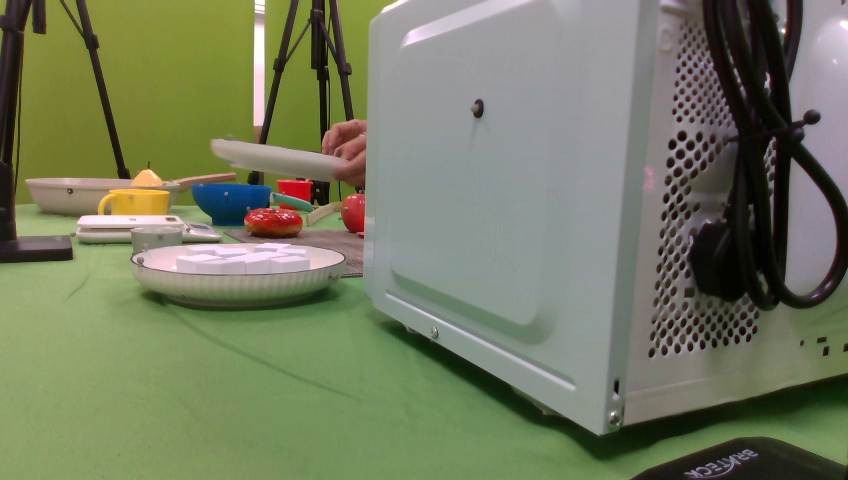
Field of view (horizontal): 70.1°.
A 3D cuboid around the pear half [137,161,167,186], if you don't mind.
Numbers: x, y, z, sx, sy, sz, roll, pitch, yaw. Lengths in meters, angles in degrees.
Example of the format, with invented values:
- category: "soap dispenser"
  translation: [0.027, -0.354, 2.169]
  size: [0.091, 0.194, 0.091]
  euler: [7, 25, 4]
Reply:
- category: "pear half"
  translation: [-0.602, -0.120, 1.354]
  size: [0.056, 0.110, 0.076]
  euler: [4, 11, 6]

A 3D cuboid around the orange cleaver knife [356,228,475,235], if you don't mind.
- category: "orange cleaver knife"
  translation: [-0.017, -0.015, 1.080]
  size: [0.211, 0.012, 0.077]
  euler: [0, 1, -2]

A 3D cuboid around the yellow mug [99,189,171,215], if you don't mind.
- category: "yellow mug"
  translation: [-0.518, -0.055, 1.080]
  size: [0.099, 0.064, 0.131]
  euler: [6, 9, 26]

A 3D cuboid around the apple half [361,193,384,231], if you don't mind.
- category: "apple half"
  translation: [-0.092, -0.053, 1.136]
  size: [0.033, 0.081, 0.081]
  euler: [0, 7, 12]

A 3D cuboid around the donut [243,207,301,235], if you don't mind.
- category: "donut"
  translation: [-0.261, -0.032, 1.043]
  size: [0.099, 0.048, 0.099]
  euler: [4, 9, 0]

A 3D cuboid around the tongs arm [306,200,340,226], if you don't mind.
- category: "tongs arm"
  translation: [-0.235, -0.066, 1.414]
  size: [0.028, 0.028, 0.387]
  euler: [-6, 8, 1]

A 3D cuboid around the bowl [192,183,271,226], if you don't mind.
- category: "bowl"
  translation: [-0.382, -0.071, 1.202]
  size: [0.151, 0.077, 0.151]
  euler: [3, 7, 0]

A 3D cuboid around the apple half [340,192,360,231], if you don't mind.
- category: "apple half"
  translation: [-0.130, -0.054, 1.143]
  size: [0.053, 0.074, 0.081]
  euler: [1, 11, 12]

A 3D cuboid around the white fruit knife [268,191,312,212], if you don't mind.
- category: "white fruit knife"
  translation: [-0.364, -0.105, 1.464]
  size: [0.208, 0.027, 0.016]
  euler: [15, 0, -34]

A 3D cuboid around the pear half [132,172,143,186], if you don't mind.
- category: "pear half"
  translation: [-0.638, -0.113, 1.361]
  size: [0.031, 0.088, 0.070]
  euler: [5, 10, 4]

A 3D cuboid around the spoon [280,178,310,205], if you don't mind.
- category: "spoon"
  translation: [-0.316, -0.159, 1.640]
  size: [0.194, 0.022, 0.041]
  euler: [-50, 32, -20]

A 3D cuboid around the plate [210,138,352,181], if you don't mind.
- category: "plate"
  translation: [-0.214, -0.118, 0.911]
  size: [0.209, 0.038, 0.209]
  euler: [8, 4, 0]

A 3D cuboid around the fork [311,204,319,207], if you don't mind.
- category: "fork"
  translation: [-0.356, -0.105, 1.526]
  size: [0.208, 0.018, 0.028]
  euler: [16, -6, -41]

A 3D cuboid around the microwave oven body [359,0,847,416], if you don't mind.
- category: "microwave oven body"
  translation: [0.211, -0.047, 0.474]
  size: [0.444, 0.260, 0.324]
  euler: [-1, 7, -28]

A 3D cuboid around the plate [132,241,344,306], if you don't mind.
- category: "plate"
  translation: [-0.187, 0.033, 0.625]
  size: [0.208, 0.039, 0.207]
  euler: [2, 8, 0]

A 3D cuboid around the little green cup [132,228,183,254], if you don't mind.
- category: "little green cup"
  translation: [-0.342, 0.006, 0.779]
  size: [0.061, 0.038, 0.061]
  euler: [2, 8, 0]

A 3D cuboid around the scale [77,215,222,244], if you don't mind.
- category: "scale"
  translation: [-0.434, -0.019, 0.963]
  size: [0.202, 0.031, 0.148]
  euler: [-1, 9, -27]

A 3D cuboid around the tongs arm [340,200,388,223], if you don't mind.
- category: "tongs arm"
  translation: [-0.149, -0.070, 1.429]
  size: [0.051, 0.026, 0.383]
  euler: [-5, 9, -15]

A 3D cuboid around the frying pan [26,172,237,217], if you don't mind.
- category: "frying pan"
  translation: [-0.624, -0.118, 1.387]
  size: [0.305, 0.102, 0.490]
  euler: [8, 17, 32]

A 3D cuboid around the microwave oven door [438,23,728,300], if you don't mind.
- category: "microwave oven door"
  translation: [0.181, -0.073, 0.621]
  size: [0.358, 0.243, 0.039]
  euler: [-2, 8, -29]

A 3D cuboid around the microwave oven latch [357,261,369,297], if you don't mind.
- category: "microwave oven latch"
  translation: [-0.019, 0.033, 0.530]
  size: [0.079, 0.029, 0.030]
  euler: [-1, 7, -26]
